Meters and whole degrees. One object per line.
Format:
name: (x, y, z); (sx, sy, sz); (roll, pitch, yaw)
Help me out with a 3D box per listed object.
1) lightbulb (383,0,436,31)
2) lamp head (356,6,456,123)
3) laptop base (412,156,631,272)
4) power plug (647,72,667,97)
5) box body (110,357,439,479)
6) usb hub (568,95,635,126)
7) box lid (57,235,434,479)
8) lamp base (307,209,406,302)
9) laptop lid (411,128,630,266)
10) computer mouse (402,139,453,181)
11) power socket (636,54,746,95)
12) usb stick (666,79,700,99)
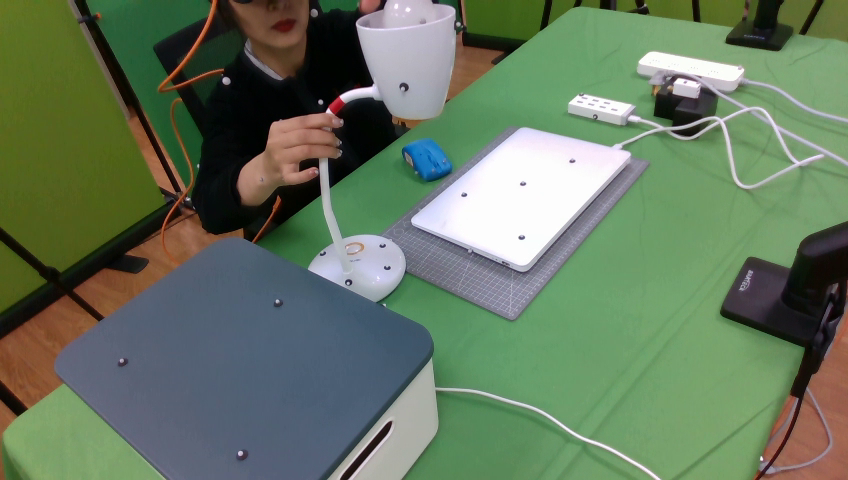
lightbulb: (-0.015, -0.226, 0.691); (0.059, 0.108, 0.059); (-4, 25, 2)
lamp head: (-0.018, -0.199, 0.701); (0.112, 0.123, 0.112); (-1, 33, 1)
laptop base: (0.176, -0.084, 1.055); (0.233, 0.023, 0.355); (21, 48, 36)
power plug: (0.493, -0.321, 1.260); (0.073, 0.052, 0.035); (1, 20, -41)
box body: (-0.189, 0.178, 0.702); (0.361, 0.161, 0.255); (22, 49, 32)
usb hub: (0.360, -0.263, 1.228); (0.124, 0.025, 0.049); (25, 49, 34)
box lid: (-0.198, 0.123, 0.653); (0.368, 0.015, 0.264); (22, 49, 32)
lamp base: (-0.116, -0.003, 0.889); (0.161, 0.181, 0.178); (-15, 43, -5)
laptop lid: (0.172, -0.093, 1.049); (0.239, 0.013, 0.358); (24, 50, 36)
computer mouse: (0.005, -0.159, 1.166); (0.063, 0.041, 0.116); (-21, 45, -17)
power socket: (0.564, -0.357, 1.293); (0.225, 0.033, 0.072); (24, 51, 33)
usb stick: (0.492, -0.288, 1.152); (0.058, 0.027, 0.021); (20, 51, 34)
